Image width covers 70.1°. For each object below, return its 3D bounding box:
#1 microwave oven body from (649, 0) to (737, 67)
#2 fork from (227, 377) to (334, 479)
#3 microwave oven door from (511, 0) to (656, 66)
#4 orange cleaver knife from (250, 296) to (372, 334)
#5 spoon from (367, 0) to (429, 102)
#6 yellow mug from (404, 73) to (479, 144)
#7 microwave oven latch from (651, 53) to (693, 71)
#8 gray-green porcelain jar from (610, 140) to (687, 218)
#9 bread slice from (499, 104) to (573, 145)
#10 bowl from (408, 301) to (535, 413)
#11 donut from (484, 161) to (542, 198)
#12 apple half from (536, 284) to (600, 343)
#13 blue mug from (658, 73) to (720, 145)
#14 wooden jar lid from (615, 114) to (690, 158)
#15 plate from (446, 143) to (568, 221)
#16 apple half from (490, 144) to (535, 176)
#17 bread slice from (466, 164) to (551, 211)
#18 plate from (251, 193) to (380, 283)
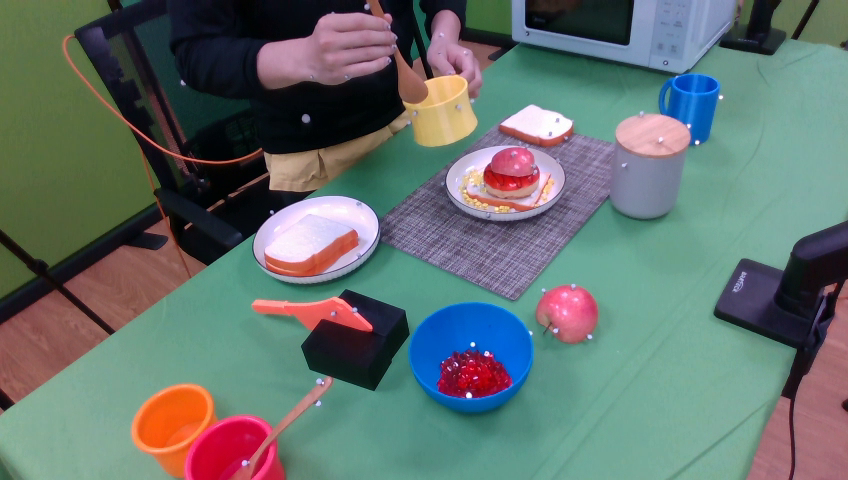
[{"bbox_3d":[0.475,-0.602,1.411,0.438,0.261,0.327,23,50,32],"label":"microwave oven body"},{"bbox_3d":[-0.162,0.216,0.647,0.207,0.019,0.028,-49,41,17],"label":"fork"},{"bbox_3d":[0.350,-0.539,1.348,0.353,0.245,0.039,24,50,31],"label":"microwave oven door"},{"bbox_3d":[-0.159,0.103,0.828,0.210,0.078,0.012,-4,43,39],"label":"orange cleaver knife"},{"bbox_3d":[-0.040,-0.252,0.788,0.041,0.195,0.021,-18,47,12],"label":"spoon"},{"bbox_3d":[0.033,-0.205,0.907,0.099,0.064,0.131,8,43,33],"label":"yellow mug"},{"bbox_3d":[0.532,-0.386,1.301,0.078,0.029,0.030,27,52,34],"label":"microwave oven latch"},{"bbox_3d":[0.354,-0.106,0.964,0.106,0.127,0.105,-4,41,4],"label":"gray-green porcelain jar"},{"bbox_3d":[0.231,-0.231,1.205,0.105,0.019,0.130,-37,47,-28],"label":"bread slice"},{"bbox_3d":[0.060,0.156,0.739,0.151,0.077,0.150,-4,40,4],"label":"bowl"},{"bbox_3d":[0.149,-0.109,1.016,0.099,0.048,0.098,-4,40,4],"label":"donut"},{"bbox_3d":[0.196,0.090,0.815,0.075,0.053,0.080,-22,42,-20],"label":"apple half"},{"bbox_3d":[0.483,-0.250,1.127,0.082,0.106,0.115,-26,44,-19],"label":"blue mug"},{"bbox_3d":[0.347,-0.155,0.923,0.108,0.021,0.108,-3,44,4],"label":"wooden jar lid"},{"bbox_3d":[0.142,-0.097,1.045,0.207,0.039,0.206,-4,40,4],"label":"plate"},{"bbox_3d":[0.147,-0.139,0.994,0.081,0.033,0.081,2,39,-1],"label":"apple half"},{"bbox_3d":[0.141,-0.092,1.042,0.133,0.018,0.107,11,43,19],"label":"bread slice"},{"bbox_3d":[-0.174,-0.001,0.984,0.209,0.038,0.208,-4,41,4],"label":"plate"}]
